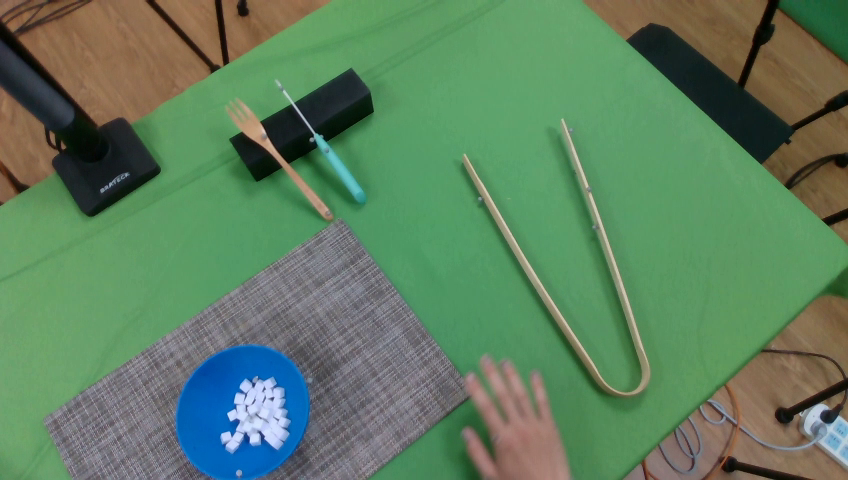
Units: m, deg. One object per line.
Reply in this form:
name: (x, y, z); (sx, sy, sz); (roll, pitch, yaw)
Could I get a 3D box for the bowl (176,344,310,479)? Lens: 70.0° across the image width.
bowl: (-0.203, 0.205, 0.717); (0.151, 0.077, 0.150); (0, 69, 1)

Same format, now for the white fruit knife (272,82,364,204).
white fruit knife: (-0.150, -0.136, 0.841); (0.016, 0.027, 0.207); (-37, 90, -6)

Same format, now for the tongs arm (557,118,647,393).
tongs arm: (0.222, 0.009, 0.808); (0.051, 0.027, 0.382); (-15, 71, -3)

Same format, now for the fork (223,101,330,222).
fork: (-0.199, -0.105, 0.831); (0.028, 0.018, 0.207); (-42, 95, -18)

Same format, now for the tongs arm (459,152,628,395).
tongs arm: (0.146, 0.037, 0.804); (0.028, 0.028, 0.384); (-27, 72, -11)
